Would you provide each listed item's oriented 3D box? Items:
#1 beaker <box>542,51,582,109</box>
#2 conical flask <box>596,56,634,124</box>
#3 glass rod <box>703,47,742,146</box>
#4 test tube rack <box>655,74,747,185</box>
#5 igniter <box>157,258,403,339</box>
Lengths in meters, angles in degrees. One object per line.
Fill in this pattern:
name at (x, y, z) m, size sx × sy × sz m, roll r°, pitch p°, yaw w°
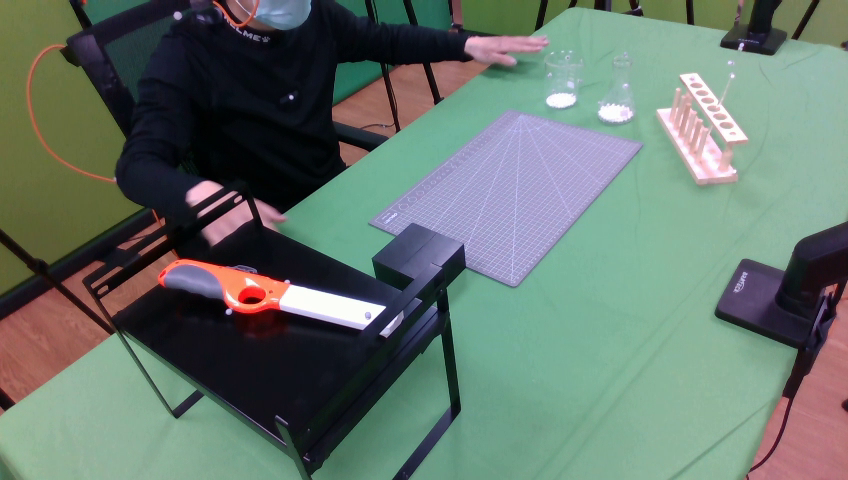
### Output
beaker at (0.287, -0.330, 1.258) m, size 0.083 × 0.101 × 0.074 m, roll 21°, pitch 49°, yaw 28°
conical flask at (0.380, -0.294, 1.185) m, size 0.075 × 0.122 × 0.075 m, roll -4°, pitch 41°, yaw 4°
glass rod at (0.502, -0.237, 1.027) m, size 0.008 × 0.200 × 0.008 m, roll -1°, pitch 49°, yaw 2°
test tube rack at (0.491, -0.205, 1.092) m, size 0.067 × 0.085 × 0.241 m, roll -5°, pitch 40°, yaw 3°
igniter at (-0.157, 0.059, 0.638) m, size 0.275 × 0.025 × 0.057 m, roll 11°, pitch 43°, yaw 14°
